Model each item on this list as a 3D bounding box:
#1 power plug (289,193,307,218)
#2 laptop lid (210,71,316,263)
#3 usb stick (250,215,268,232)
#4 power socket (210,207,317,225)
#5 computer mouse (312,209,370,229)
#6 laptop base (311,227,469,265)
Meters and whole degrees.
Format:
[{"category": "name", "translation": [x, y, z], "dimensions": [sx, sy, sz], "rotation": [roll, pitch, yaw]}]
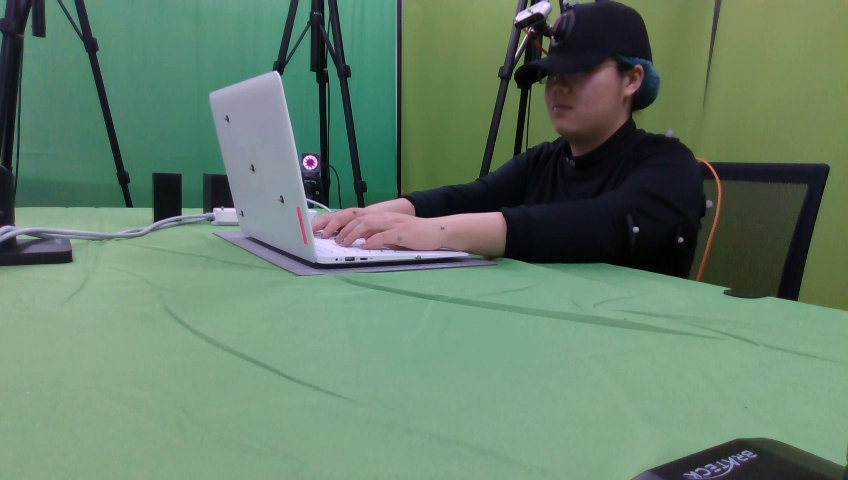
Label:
[{"category": "power plug", "translation": [-0.281, -0.077, 1.340], "dimensions": [0.035, 0.052, 0.072], "rotation": [3, 7, -18]}, {"category": "laptop lid", "translation": [-0.240, -0.104, 0.861], "dimensions": [0.013, 0.241, 0.355], "rotation": [-16, 17, -29]}, {"category": "usb stick", "translation": [-0.290, -0.028, 1.069], "dimensions": [0.021, 0.027, 0.059], "rotation": [-1, 11, -30]}, {"category": "power socket", "translation": [-0.334, -0.051, 1.281], "dimensions": [0.228, 0.032, 0.072], "rotation": [-1, 8, -28]}, {"category": "computer mouse", "translation": [-0.174, -0.043, 1.266], "dimensions": [0.118, 0.041, 0.062], "rotation": [-7, 14, -34]}, {"category": "laptop base", "translation": [-0.123, 0.007, 0.951], "dimensions": [0.237, 0.023, 0.352], "rotation": [2, 6, -32]}]
